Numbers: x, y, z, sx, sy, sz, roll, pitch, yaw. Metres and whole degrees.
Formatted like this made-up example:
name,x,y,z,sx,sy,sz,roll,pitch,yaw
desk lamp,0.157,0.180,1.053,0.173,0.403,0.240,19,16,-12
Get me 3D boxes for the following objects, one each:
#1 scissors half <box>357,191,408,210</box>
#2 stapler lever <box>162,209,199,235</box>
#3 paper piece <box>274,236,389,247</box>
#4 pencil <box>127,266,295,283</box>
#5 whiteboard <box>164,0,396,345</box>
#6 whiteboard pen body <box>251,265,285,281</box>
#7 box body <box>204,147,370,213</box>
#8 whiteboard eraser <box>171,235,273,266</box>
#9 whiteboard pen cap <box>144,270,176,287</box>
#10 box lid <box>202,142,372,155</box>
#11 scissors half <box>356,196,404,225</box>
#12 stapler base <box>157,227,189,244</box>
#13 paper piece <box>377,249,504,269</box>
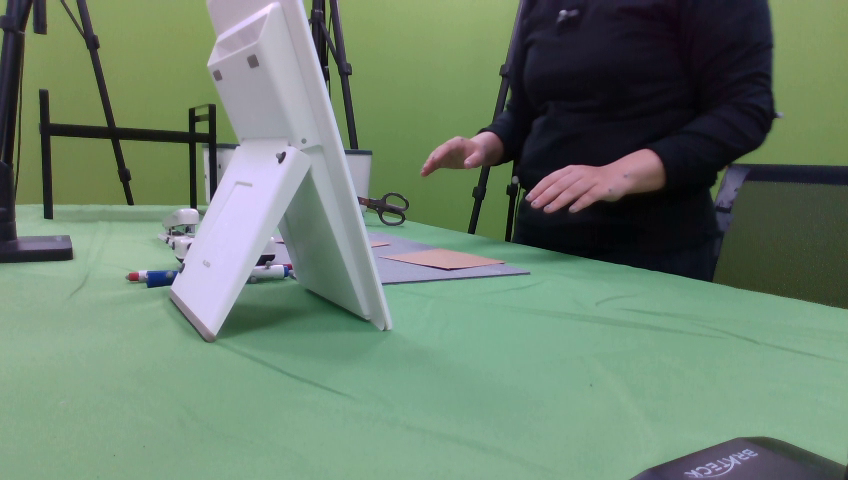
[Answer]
name,x,y,z,sx,sy,sz,roll,pitch,yaw
scissors half,-0.123,-0.092,1.318,0.175,0.040,0.013,5,12,-3
stapler lever,-0.376,-0.031,0.933,0.027,0.040,0.117,0,7,-38
paper piece,-0.151,0.003,0.978,0.135,0.008,0.139,13,10,35
pencil,-0.231,0.037,0.690,0.195,0.012,0.012,-2,9,-34
whiteboard,-0.173,-0.053,0.511,0.144,0.305,0.216,-23,19,-26
whiteboard pen body,-0.220,0.039,0.656,0.141,0.017,0.017,-2,9,-31
box body,-0.347,-0.152,1.519,0.366,0.160,0.253,-2,9,-31
whiteboard eraser,-0.248,0.014,0.747,0.113,0.042,0.055,-1,10,-32
whiteboard pen cap,-0.271,0.039,0.627,0.033,0.018,0.018,-3,10,-32
box lid,-0.344,-0.225,1.509,0.373,0.015,0.262,-2,8,-31
scissors half,-0.127,-0.072,1.321,0.175,0.040,0.013,22,5,-5
stapler base,-0.376,-0.007,0.935,0.041,0.024,0.130,0,5,-38
paper piece,0.025,0.026,0.865,0.134,0.004,0.136,10,10,43
